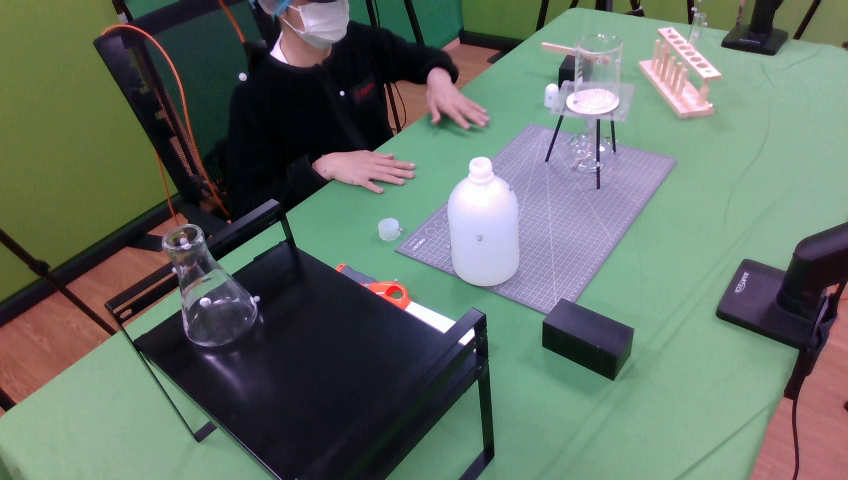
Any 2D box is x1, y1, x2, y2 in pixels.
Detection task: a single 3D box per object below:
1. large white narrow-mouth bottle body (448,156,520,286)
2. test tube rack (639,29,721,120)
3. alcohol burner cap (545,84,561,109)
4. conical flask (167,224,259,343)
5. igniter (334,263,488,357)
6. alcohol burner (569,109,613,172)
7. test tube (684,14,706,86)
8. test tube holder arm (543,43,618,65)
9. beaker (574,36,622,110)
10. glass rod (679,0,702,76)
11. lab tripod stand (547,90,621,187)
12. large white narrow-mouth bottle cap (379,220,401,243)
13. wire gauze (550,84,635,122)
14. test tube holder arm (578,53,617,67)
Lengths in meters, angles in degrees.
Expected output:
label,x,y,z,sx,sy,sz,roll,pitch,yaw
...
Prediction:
label,x,y,z,sx,sy,sz,roll,pitch,yaw
large white narrow-mouth bottle body,0.086,-0.032,0.869,0.102,0.195,0.101,-4,40,4
test tube rack,0.527,-0.351,1.262,0.067,0.085,0.241,-8,40,1
alcohol burner cap,0.274,-0.307,1.285,0.034,0.048,0.033,-5,42,5
conical flask,-0.220,0.041,0.613,0.075,0.122,0.075,-5,40,4
igniter,-0.030,0.095,0.872,0.274,0.025,0.057,23,60,31
alcohol burner,0.297,-0.181,1.073,0.078,0.119,0.077,-5,43,5
test tube,0.540,-0.378,1.215,0.017,0.151,0.017,-2,44,3
test tube holder arm,0.345,-0.413,1.341,0.177,0.015,0.013,25,50,31
beaker,0.285,-0.273,0.990,0.073,0.101,0.084,15,46,27
glass rod,0.543,-0.417,1.233,0.008,0.200,0.008,1,39,0
lab tripod stand,0.289,-0.184,1.062,0.148,0.132,0.147,-6,41,6
large white narrow-mouth bottle cap,-0.057,-0.015,1.011,0.038,0.024,0.037,-4,40,4
wire gauze,0.285,-0.234,1.021,0.124,0.011,0.121,8,41,24
test tube holder arm,0.376,-0.393,1.314,0.087,0.015,0.010,26,51,32
